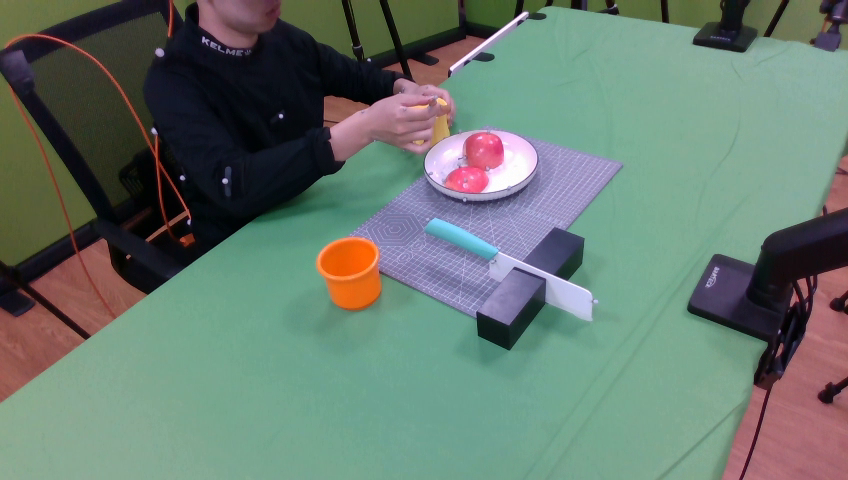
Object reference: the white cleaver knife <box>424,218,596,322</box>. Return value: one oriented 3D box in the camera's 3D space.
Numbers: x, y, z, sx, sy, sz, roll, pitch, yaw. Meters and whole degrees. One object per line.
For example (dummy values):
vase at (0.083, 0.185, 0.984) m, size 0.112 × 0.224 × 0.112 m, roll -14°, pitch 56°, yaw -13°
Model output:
white cleaver knife at (0.114, 0.042, 0.865) m, size 0.284 × 0.066 × 0.021 m, roll 27°, pitch 47°, yaw 28°

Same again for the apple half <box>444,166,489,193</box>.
apple half at (0.074, -0.112, 1.063) m, size 0.081 × 0.033 × 0.081 m, roll -6°, pitch 39°, yaw 5°

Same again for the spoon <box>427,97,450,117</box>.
spoon at (0.020, -0.231, 1.037) m, size 0.041 × 0.021 × 0.194 m, roll -25°, pitch 1°, yaw 10°

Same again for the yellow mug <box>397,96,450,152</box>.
yellow mug at (-0.004, -0.226, 1.201) m, size 0.099 × 0.064 × 0.130 m, roll 5°, pitch 44°, yaw 16°

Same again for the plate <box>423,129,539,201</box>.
plate at (0.103, -0.132, 1.092) m, size 0.209 × 0.038 × 0.208 m, roll -4°, pitch 40°, yaw 4°

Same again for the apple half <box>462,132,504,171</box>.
apple half at (0.109, -0.170, 1.110) m, size 0.075 × 0.053 × 0.080 m, roll -6°, pitch 40°, yaw -2°
